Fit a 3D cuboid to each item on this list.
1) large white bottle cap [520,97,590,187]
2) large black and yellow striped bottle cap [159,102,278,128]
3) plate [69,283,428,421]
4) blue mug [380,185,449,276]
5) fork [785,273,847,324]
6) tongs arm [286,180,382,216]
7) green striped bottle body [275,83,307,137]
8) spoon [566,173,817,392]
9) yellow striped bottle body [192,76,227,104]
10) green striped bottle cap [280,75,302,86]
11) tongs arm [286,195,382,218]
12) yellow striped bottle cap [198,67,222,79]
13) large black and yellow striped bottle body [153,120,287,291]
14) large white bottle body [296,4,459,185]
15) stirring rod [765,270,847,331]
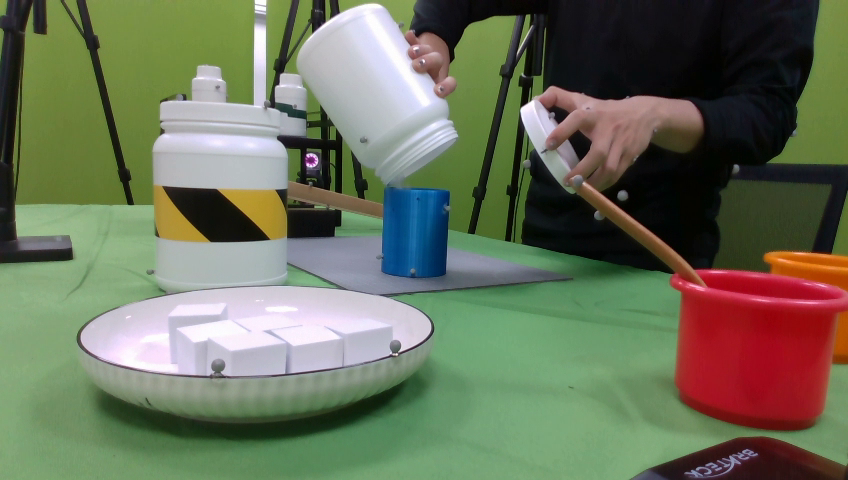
[{"bbox_3d":[0.148,-0.110,0.683,0.018,0.114,0.115,-34,-10,26],"label":"large white bottle cap"},{"bbox_3d":[-0.207,-0.125,0.615,0.115,0.019,0.115,2,6,0],"label":"large black and yellow striped bottle cap"},{"bbox_3d":[-0.102,0.066,0.381,0.208,0.039,0.207,2,7,0],"label":"plate"},{"bbox_3d":[-0.018,-0.016,0.764,0.083,0.106,0.116,-1,8,-25],"label":"blue mug"},{"bbox_3d":[0.332,0.018,0.444,0.028,0.018,0.207,-1,-35,-15],"label":"fork"},{"bbox_3d":[-0.122,-0.066,1.147,0.387,0.026,0.050,11,-2,-37],"label":"tongs arm"},{"bbox_3d":[-0.269,-0.269,1.221,0.063,0.119,0.063,2,7,0],"label":"green striped bottle body"},{"bbox_3d":[0.161,0.024,0.370,0.193,0.021,0.042,47,17,3],"label":"spoon"},{"bbox_3d":[-0.414,-0.268,1.169,0.063,0.120,0.063,2,7,0],"label":"yellow striped bottle body"},{"bbox_3d":[-0.267,-0.320,1.216,0.044,0.020,0.044,4,9,0],"label":"green striped bottle cap"},{"bbox_3d":[-0.165,-0.074,1.216,0.389,0.027,0.028,11,-6,-24],"label":"tongs arm"},{"bbox_3d":[-0.412,-0.320,1.162,0.044,0.018,0.044,0,5,0],"label":"yellow striped bottle cap"},{"bbox_3d":[-0.208,-0.042,0.626,0.131,0.184,0.130,2,7,0],"label":"large black and yellow striped bottle body"},{"bbox_3d":[-0.052,-0.171,0.733,0.130,0.184,0.130,-35,1,1],"label":"large white bottle body"},{"bbox_3d":[0.352,0.020,0.484,0.176,0.006,0.014,-40,-7,12],"label":"stirring rod"}]
